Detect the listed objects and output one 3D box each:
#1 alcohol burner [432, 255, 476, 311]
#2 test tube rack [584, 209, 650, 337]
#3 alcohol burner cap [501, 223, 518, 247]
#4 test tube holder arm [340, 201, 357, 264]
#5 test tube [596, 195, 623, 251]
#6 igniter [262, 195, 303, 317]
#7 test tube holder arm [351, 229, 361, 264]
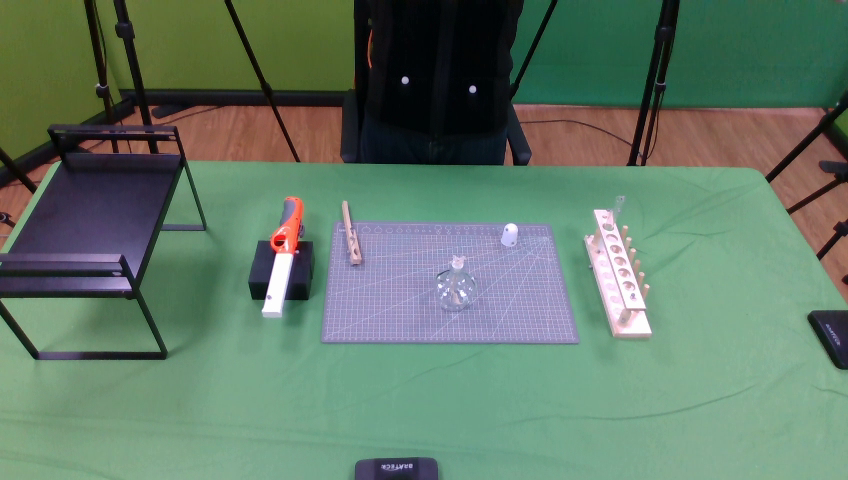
[{"bbox_3d":[0.055,0.070,1.068,0.078,0.119,0.077,3,45,-3],"label":"alcohol burner"},{"bbox_3d":[0.365,0.056,1.129,0.067,0.085,0.240,1,46,-4],"label":"test tube rack"},{"bbox_3d":[0.172,-0.013,1.206,0.034,0.048,0.033,1,46,-1],"label":"alcohol burner cap"},{"bbox_3d":[-0.151,-0.019,1.204,0.013,0.015,0.177,10,39,-27],"label":"test tube holder arm"},{"bbox_3d":[0.347,-0.029,1.140,0.017,0.151,0.017,1,52,-1],"label":"test tube"},{"bbox_3d":[-0.253,0.020,1.090,0.057,0.025,0.275,0,49,-1],"label":"igniter"},{"bbox_3d":[-0.135,0.012,1.175,0.010,0.015,0.087,10,39,-26],"label":"test tube holder arm"}]
